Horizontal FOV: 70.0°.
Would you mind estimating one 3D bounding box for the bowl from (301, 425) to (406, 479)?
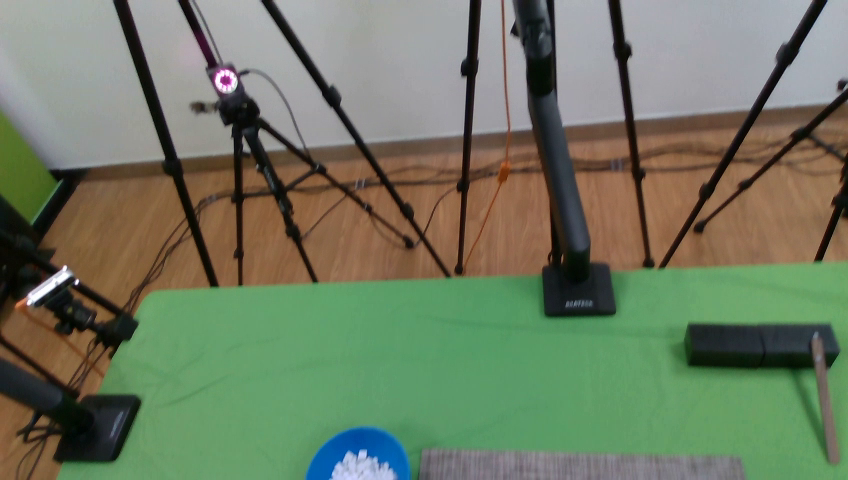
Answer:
[{"bbox_3d":[-0.092,0.351,0.863,0.151,0.077,0.150,-6,47,7],"label":"bowl"}]

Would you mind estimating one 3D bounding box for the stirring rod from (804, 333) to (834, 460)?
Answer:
[{"bbox_3d":[0.554,0.216,0.849,0.014,0.006,0.175,1,67,10],"label":"stirring rod"}]
